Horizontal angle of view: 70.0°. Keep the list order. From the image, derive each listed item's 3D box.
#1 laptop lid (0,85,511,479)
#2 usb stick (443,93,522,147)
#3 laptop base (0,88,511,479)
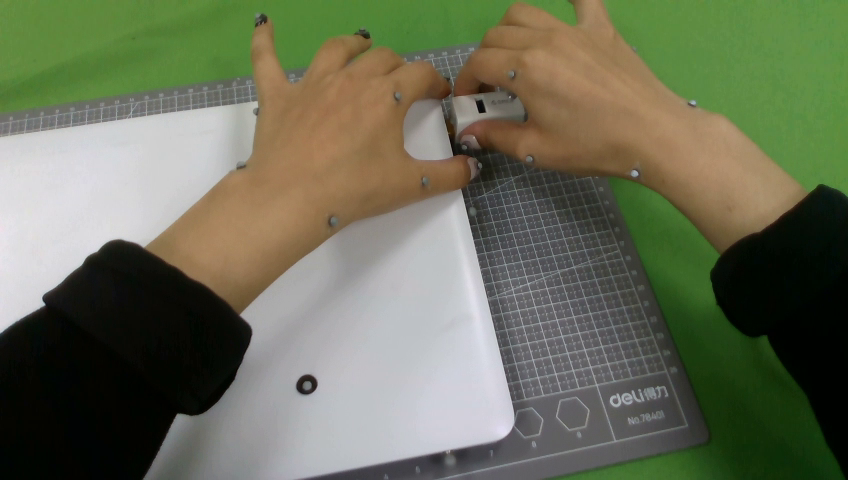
[{"bbox_3d":[-0.146,0.026,0.336,0.357,0.013,0.239,-7,65,-5],"label":"laptop lid"},{"bbox_3d":[0.031,-0.076,0.391,0.059,0.027,0.021,-10,66,-4],"label":"usb stick"},{"bbox_3d":[-0.147,0.029,0.348,0.355,0.023,0.233,-9,66,-5],"label":"laptop base"}]
